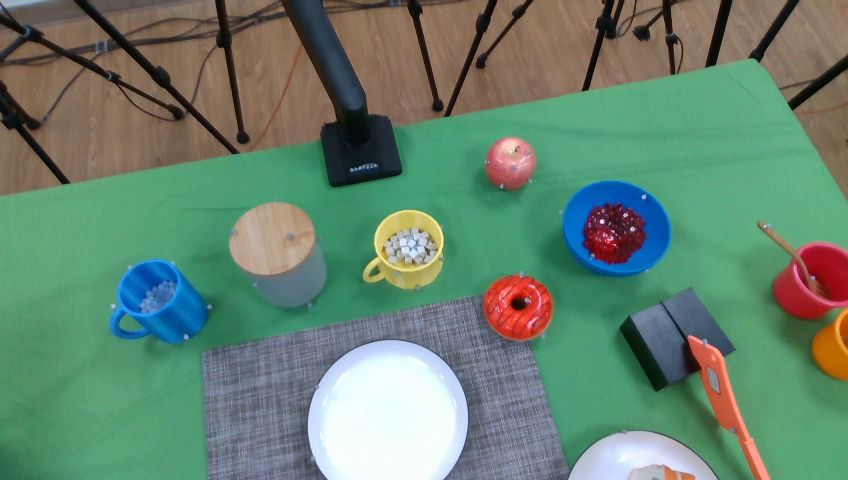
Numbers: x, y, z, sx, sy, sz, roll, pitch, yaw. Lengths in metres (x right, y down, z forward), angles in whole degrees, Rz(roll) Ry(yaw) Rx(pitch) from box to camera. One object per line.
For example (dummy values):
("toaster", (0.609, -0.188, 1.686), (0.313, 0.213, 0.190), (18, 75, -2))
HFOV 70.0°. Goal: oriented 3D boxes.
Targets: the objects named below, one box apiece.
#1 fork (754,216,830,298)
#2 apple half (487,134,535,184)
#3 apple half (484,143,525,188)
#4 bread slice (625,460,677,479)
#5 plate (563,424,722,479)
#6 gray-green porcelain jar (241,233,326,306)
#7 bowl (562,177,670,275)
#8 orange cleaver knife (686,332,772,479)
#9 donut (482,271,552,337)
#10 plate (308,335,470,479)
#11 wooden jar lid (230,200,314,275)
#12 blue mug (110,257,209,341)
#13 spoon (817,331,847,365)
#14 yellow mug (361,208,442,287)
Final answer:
("fork", (0.507, 0.025, 0.829), (0.209, 0.018, 0.028), (36, 60, -29))
("apple half", (0.143, -0.131, 0.951), (0.080, 0.075, 0.053), (40, 64, 22))
("apple half", (0.116, -0.106, 0.937), (0.081, 0.082, 0.033), (40, 65, 19))
("bread slice", (0.249, 0.302, 0.691), (0.018, 0.135, 0.106), (22, 62, 8))
("plate", (0.267, 0.334, 0.736), (0.209, 0.038, 0.207), (0, 63, 0))
("gray-green porcelain jar", (-0.195, 0.028, 0.843), (0.106, 0.127, 0.105), (0, 63, 0))
("bowl", (0.270, -0.008, 0.886), (0.151, 0.077, 0.150), (0, 64, 1))
("orange cleaver knife", (0.386, 0.217, 0.770), (0.012, 0.077, 0.211), (-22, 89, -7))
("donut", (0.131, 0.090, 0.852), (0.099, 0.048, 0.098), (0, 64, 0))
("plate", (-0.045, 0.227, 0.787), (0.208, 0.039, 0.206), (0, 64, 0))
("wooden jar lid", (-0.196, -0.001, 0.788), (0.108, 0.021, 0.107), (0, 61, 1))
("blue mug", (-0.365, 0.092, 0.823), (0.116, 0.106, 0.081), (-35, 68, -16))
("spoon", (0.611, 0.109, 0.785), (0.022, 0.194, 0.041), (11, 49, -46))
("yellow mug", (-0.035, 0.019, 0.881), (0.131, 0.064, 0.099), (-33, 68, -14))
